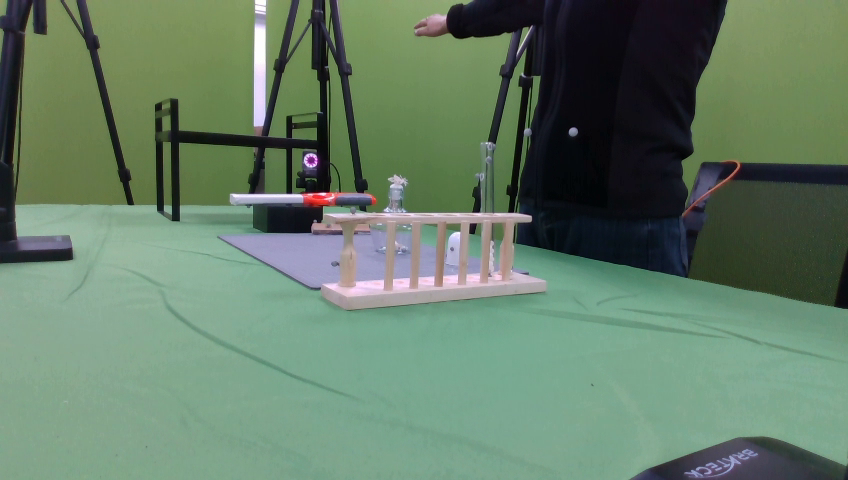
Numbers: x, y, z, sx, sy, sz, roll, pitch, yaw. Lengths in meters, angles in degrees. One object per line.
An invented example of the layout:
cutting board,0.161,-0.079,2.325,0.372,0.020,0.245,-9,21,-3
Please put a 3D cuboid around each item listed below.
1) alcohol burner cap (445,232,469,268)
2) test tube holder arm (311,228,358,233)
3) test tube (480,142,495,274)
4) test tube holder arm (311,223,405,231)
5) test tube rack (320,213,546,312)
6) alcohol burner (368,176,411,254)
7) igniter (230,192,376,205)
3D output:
alcohol burner cap,0.045,0.013,0.829,0.034,0.048,0.034,2,8,0
test tube holder arm,-0.163,-0.021,1.102,0.088,0.015,0.010,-2,-21,-23
test tube,0.072,-0.036,0.686,0.017,0.150,0.017,-1,5,0
test tube holder arm,-0.119,-0.024,1.116,0.179,0.015,0.013,-2,-21,-23
test tube rack,0.017,0.017,0.638,0.244,0.085,0.066,-2,9,-31
alcohol burner,-0.045,-0.038,0.912,0.078,0.119,0.078,4,7,0
igniter,-0.226,-0.079,1.161,0.278,0.025,0.057,-2,15,-28
